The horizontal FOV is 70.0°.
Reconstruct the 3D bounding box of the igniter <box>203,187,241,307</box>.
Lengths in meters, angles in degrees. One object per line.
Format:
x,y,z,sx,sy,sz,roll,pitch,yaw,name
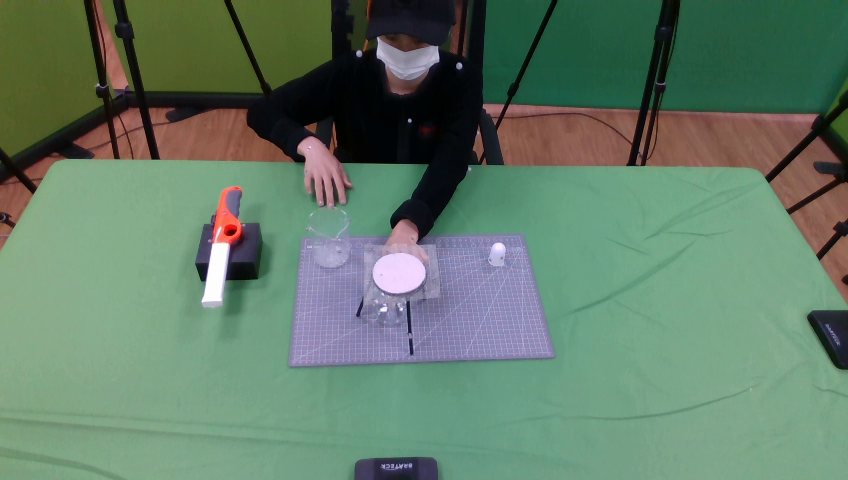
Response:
-0.365,0.003,1.098,0.057,0.025,0.274,-1,49,-7,igniter

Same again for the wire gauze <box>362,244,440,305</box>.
-0.038,0.051,0.971,0.121,0.011,0.124,-1,46,-4,wire gauze

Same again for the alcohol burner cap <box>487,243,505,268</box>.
0.141,0.027,1.166,0.034,0.048,0.033,2,45,-2,alcohol burner cap

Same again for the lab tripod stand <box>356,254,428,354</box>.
-0.046,0.100,1.017,0.148,0.132,0.147,1,47,-1,lab tripod stand

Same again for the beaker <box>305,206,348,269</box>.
-0.177,0.001,1.126,0.074,0.101,0.083,-14,49,-16,beaker

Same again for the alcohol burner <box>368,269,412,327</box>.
-0.058,0.093,1.036,0.078,0.120,0.077,1,44,-1,alcohol burner
